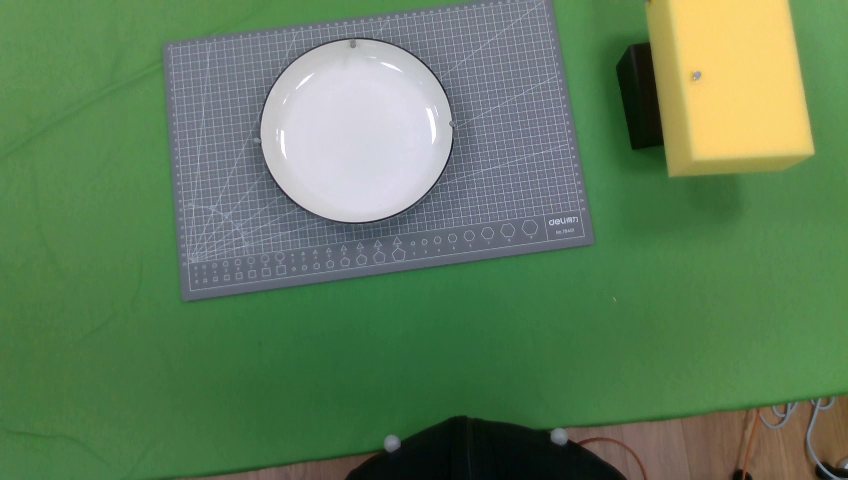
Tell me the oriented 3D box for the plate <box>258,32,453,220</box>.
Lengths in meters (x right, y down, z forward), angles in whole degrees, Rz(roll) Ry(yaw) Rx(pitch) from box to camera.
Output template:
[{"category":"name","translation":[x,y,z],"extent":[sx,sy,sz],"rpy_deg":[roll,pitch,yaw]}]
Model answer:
[{"category":"plate","translation":[-0.072,-0.121,0.660],"extent":[0.209,0.038,0.208],"rpy_deg":[0,81,0]}]

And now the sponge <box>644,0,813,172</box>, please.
[{"category":"sponge","translation":[0.300,-0.177,0.609],"extent":[0.118,0.061,0.206],"rpy_deg":[-5,81,0]}]
